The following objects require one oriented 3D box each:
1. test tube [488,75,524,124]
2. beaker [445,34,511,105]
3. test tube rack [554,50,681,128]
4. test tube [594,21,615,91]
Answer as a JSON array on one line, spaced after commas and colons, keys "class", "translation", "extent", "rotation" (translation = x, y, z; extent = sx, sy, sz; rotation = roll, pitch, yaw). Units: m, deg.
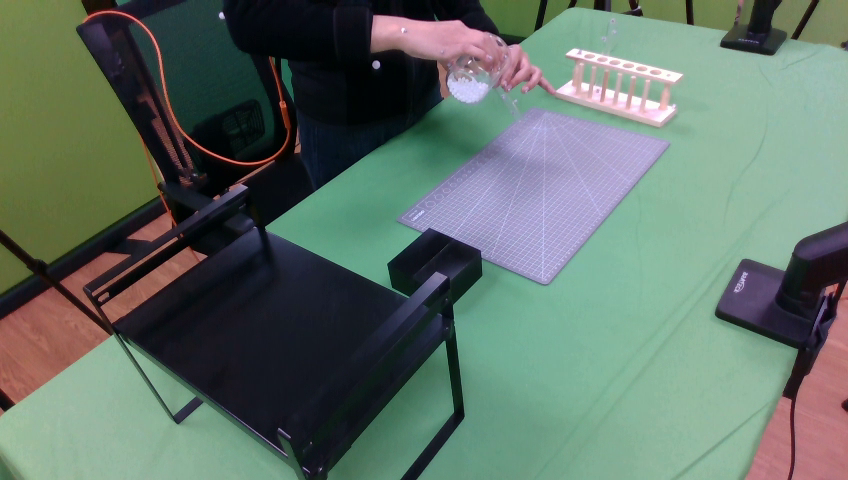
[{"class": "test tube", "translation": [0.149, -0.247, 1.075], "extent": [0.017, 0.152, 0.017], "rotation": [-11, 66, 25]}, {"class": "beaker", "translation": [0.085, -0.267, 0.963], "extent": [0.073, 0.084, 0.100], "rotation": [16, 52, 28]}, {"class": "test tube rack", "translation": [0.388, -0.311, 1.234], "extent": [0.240, 0.085, 0.067], "rotation": [28, 51, 34]}, {"class": "test tube", "translation": [0.367, -0.372, 1.232], "extent": [0.017, 0.151, 0.017], "rotation": [0, 43, 0]}]
